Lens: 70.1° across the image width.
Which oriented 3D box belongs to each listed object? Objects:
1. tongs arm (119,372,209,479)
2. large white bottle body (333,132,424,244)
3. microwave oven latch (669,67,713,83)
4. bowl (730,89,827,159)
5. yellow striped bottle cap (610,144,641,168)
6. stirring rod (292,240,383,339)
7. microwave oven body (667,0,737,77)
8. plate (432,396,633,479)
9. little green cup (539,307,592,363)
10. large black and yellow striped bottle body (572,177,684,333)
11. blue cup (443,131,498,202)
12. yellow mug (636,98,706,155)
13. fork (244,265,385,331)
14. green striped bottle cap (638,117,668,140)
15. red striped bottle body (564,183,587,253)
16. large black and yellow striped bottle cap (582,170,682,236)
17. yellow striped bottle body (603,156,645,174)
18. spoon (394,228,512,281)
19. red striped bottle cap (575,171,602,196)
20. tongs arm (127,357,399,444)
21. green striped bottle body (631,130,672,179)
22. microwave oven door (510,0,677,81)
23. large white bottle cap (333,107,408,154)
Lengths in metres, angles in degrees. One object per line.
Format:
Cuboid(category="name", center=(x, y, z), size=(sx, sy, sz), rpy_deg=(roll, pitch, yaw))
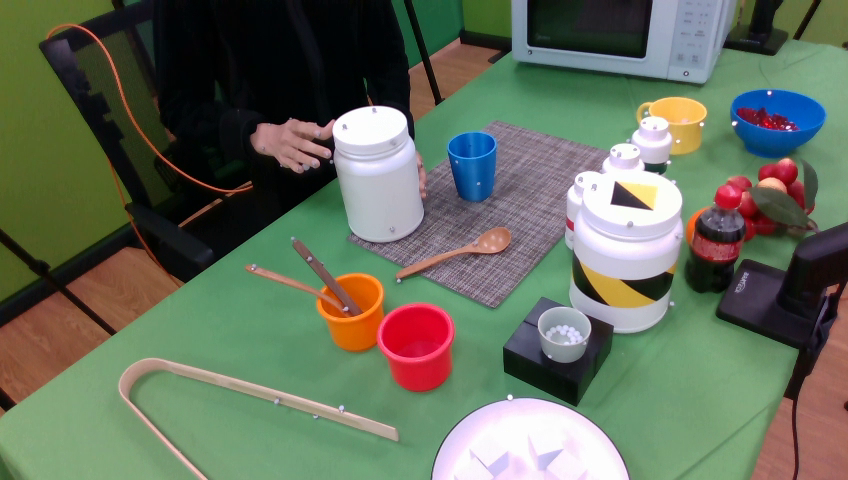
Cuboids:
Cuboid(category="tongs arm", center=(-0.258, 0.257, 0.700), size=(0.384, 0.028, 0.028), rpy_deg=(24, 55, 34))
Cuboid(category="large white bottle body", center=(-0.073, -0.101, 0.974), size=(0.130, 0.185, 0.130), rpy_deg=(-4, 40, 4))
Cuboid(category="microwave oven latch", center=(0.556, -0.349, 1.261), size=(0.078, 0.029, 0.030), rpy_deg=(16, 46, 27))
Cuboid(category="bowl", center=(0.615, -0.197, 1.069), size=(0.151, 0.077, 0.150), rpy_deg=(-5, 40, 5))
Cuboid(category="yellow striped bottle cap", center=(0.307, -0.128, 0.923), size=(0.044, 0.019, 0.044), rpy_deg=(-6, 39, 5))
Cuboid(category="stirring rod", center=(-0.118, 0.068, 0.825), size=(0.176, 0.006, 0.014), rpy_deg=(48, 59, -3))
Cuboid(category="microwave oven body", center=(0.462, -0.552, 1.368), size=(0.439, 0.261, 0.326), rpy_deg=(15, 45, 26))
Cuboid(category="plate", center=(0.112, 0.261, 0.634), size=(0.209, 0.038, 0.208), rpy_deg=(-5, 40, 4))
Cuboid(category="little green cup", center=(0.168, 0.115, 0.721), size=(0.061, 0.039, 0.061), rpy_deg=(-4, 42, 4))
Cuboid(category="large black and yellow striped bottle body", center=(0.262, 0.017, 0.788), size=(0.131, 0.185, 0.130), rpy_deg=(-5, 40, 4))
Cuboid(category="blue cup", center=(0.087, -0.122, 1.040), size=(0.092, 0.101, 0.092), rpy_deg=(-5, 42, 5))
Cuboid(category="yellow mug", center=(0.453, -0.217, 1.128), size=(0.100, 0.064, 0.129), rpy_deg=(-34, 46, -27))
Cuboid(category="fork", center=(-0.142, 0.078, 0.806), size=(0.209, 0.018, 0.028), rpy_deg=(30, 33, -23))
Cuboid(category="green striped bottle cap", center=(0.369, -0.180, 0.974), size=(0.044, 0.020, 0.044), rpy_deg=(-4, 41, 4))
Cuboid(category="red striped bottle body", center=(0.246, -0.041, 0.910), size=(0.063, 0.120, 0.062), rpy_deg=(-2, 38, 2))
Cuboid(category="large black and yellow striped bottle cap", center=(0.252, -0.048, 0.735), size=(0.115, 0.019, 0.114), rpy_deg=(-3, 40, 3))
Cuboid(category="yellow striped bottle body", center=(0.313, -0.089, 0.956), size=(0.063, 0.121, 0.062), rpy_deg=(-4, 40, 4))
Cuboid(category="spoon", center=(0.045, 0.024, 0.935), size=(0.194, 0.022, 0.041), rpy_deg=(-18, 66, -11))
Cuboid(category="red striped bottle cap", center=(0.242, -0.081, 0.876), size=(0.044, 0.018, 0.044), rpy_deg=(-5, 44, 5))
Cuboid(category="tongs arm", center=(-0.213, 0.205, 0.755), size=(0.382, 0.026, 0.051), rpy_deg=(12, 46, 23))
Cuboid(category="green striped bottle body", center=(0.375, -0.140, 1.007), size=(0.063, 0.120, 0.063), rpy_deg=(-5, 40, 4))
Cuboid(category="microwave oven door", center=(0.354, -0.478, 1.290), size=(0.353, 0.245, 0.039), rpy_deg=(15, 45, 25))
Cuboid(category="large white bottle cap", center=(-0.081, -0.168, 0.918), size=(0.115, 0.018, 0.114), rpy_deg=(-3, 40, 3))
